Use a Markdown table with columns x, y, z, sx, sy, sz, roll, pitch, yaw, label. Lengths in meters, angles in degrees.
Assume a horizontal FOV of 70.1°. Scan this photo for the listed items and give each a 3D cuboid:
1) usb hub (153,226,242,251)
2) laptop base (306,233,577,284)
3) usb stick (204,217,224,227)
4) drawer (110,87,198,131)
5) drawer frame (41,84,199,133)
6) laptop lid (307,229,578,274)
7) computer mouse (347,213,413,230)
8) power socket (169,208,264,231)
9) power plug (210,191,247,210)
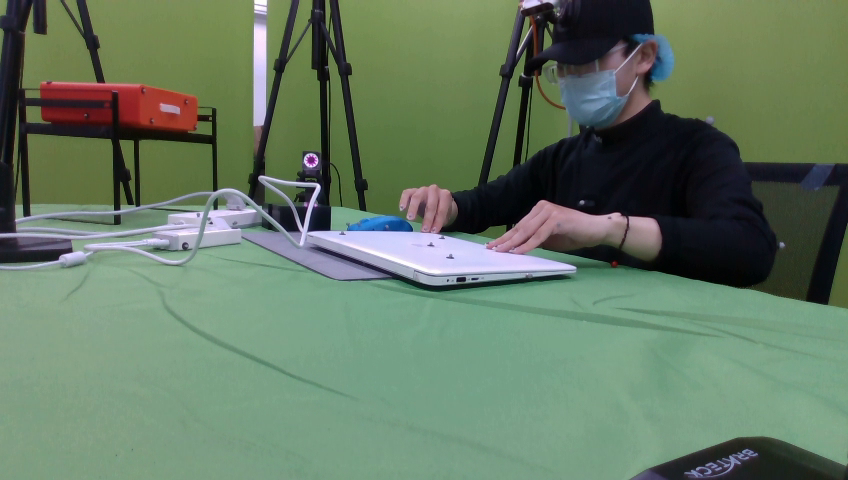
| x | y | z | sx | sy | sz | roll | pitch | yaw | label |
| --- | --- | --- | --- | --- | --- | --- | --- | --- | --- |
| -0.337 | -0.003 | 0.907 | 0.049 | 0.025 | 0.125 | 6 | 9 | 28 | usb hub |
| 0.007 | 0.022 | 0.850 | 0.237 | 0.023 | 0.352 | 1 | 7 | -34 | laptop base |
| -0.345 | -0.020 | 1.008 | 0.027 | 0.021 | 0.059 | 45 | -9 | 2 | usb stick |
| -0.602 | -0.263 | 1.225 | 0.211 | 0.073 | 0.195 | 3 | 8 | 10 | drawer |
| -0.604 | -0.264 | 1.225 | 0.213 | 0.082 | 0.202 | 3 | 8 | 8 | drawer frame |
| 0.009 | 0.010 | 0.850 | 0.243 | 0.013 | 0.355 | 0 | 8 | -32 | laptop lid |
| -0.079 | -0.025 | 1.080 | 0.117 | 0.041 | 0.062 | -5 | 11 | -18 | computer mouse |
| -0.381 | -0.038 | 1.128 | 0.072 | 0.032 | 0.227 | 4 | 8 | 17 | power socket |
| -0.386 | -0.071 | 1.204 | 0.072 | 0.052 | 0.035 | 8 | 10 | 25 | power plug |
